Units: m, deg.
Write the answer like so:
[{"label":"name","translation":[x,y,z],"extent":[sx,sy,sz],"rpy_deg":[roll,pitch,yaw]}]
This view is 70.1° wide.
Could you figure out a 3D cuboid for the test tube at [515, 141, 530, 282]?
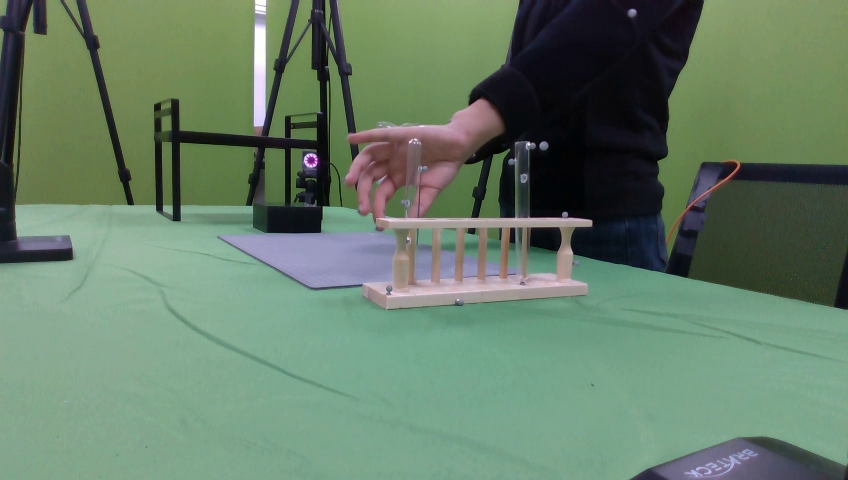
[{"label":"test tube","translation":[0.104,-0.028,0.636],"extent":[0.017,0.150,0.017],"rpy_deg":[-2,13,1]}]

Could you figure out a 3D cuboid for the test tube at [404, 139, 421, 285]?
[{"label":"test tube","translation":[-0.013,-0.027,0.619],"extent":[0.017,0.150,0.017],"rpy_deg":[2,7,0]}]

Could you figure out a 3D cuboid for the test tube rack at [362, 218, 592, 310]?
[{"label":"test tube rack","translation":[0.060,0.018,0.641],"extent":[0.243,0.085,0.066],"rpy_deg":[-1,8,-27]}]

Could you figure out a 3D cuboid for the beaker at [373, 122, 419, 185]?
[{"label":"beaker","translation":[-0.047,-0.141,0.995],"extent":[0.074,0.100,0.084],"rpy_deg":[2,7,-5]}]
